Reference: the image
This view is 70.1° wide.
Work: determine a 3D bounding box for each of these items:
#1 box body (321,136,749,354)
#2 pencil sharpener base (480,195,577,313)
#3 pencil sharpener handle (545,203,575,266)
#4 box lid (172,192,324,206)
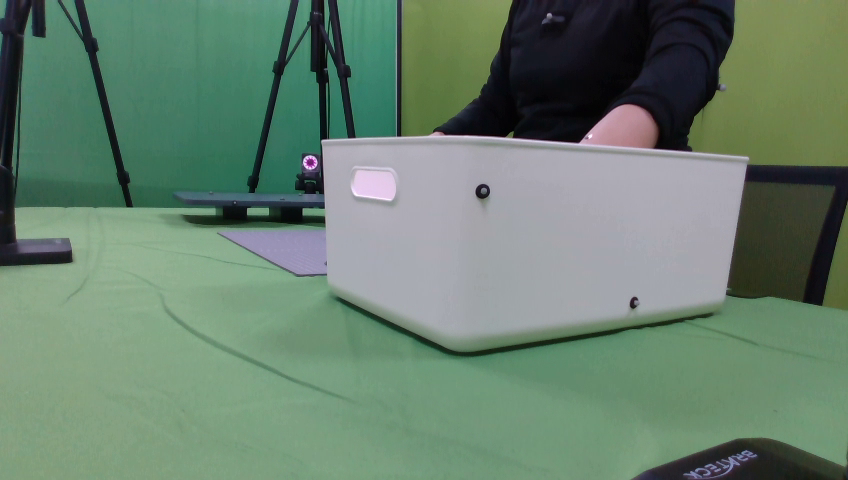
[{"bbox_3d":[0.105,-0.012,0.604,0.366,0.160,0.253,-2,8,-33],"label":"box body"},{"bbox_3d":[0.103,0.011,0.593,0.077,0.107,0.061,-3,10,-33],"label":"pencil sharpener base"},{"bbox_3d":[0.144,-0.005,0.623,0.031,0.067,0.036,-3,27,-33],"label":"pencil sharpener handle"},{"bbox_3d":[-0.355,-0.091,1.350,0.373,0.015,0.262,-1,8,-29],"label":"box lid"}]
